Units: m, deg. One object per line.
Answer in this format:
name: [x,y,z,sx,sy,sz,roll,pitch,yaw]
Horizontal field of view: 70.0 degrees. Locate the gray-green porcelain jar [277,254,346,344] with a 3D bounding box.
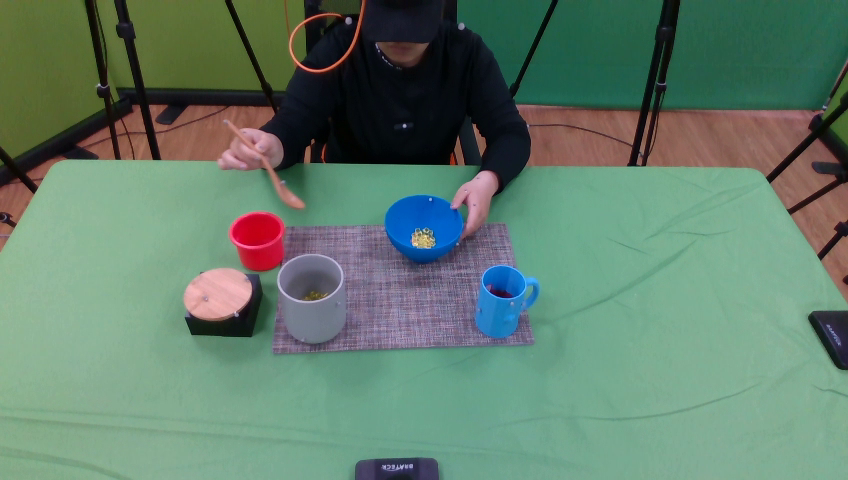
gray-green porcelain jar: [-0.184,0.102,1.008,0.106,0.127,0.105,2,46,-2]

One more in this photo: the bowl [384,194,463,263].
bowl: [-0.002,-0.010,1.164,0.151,0.077,0.150,2,46,-2]

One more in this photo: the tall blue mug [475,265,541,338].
tall blue mug: [0.142,0.099,1.047,0.077,0.108,0.107,33,52,27]

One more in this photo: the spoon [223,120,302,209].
spoon: [-0.276,-0.128,1.041,0.021,0.194,0.041,-30,17,16]

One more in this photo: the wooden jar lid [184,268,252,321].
wooden jar lid: [-0.343,0.093,1.015,0.108,0.021,0.107,3,46,-3]
